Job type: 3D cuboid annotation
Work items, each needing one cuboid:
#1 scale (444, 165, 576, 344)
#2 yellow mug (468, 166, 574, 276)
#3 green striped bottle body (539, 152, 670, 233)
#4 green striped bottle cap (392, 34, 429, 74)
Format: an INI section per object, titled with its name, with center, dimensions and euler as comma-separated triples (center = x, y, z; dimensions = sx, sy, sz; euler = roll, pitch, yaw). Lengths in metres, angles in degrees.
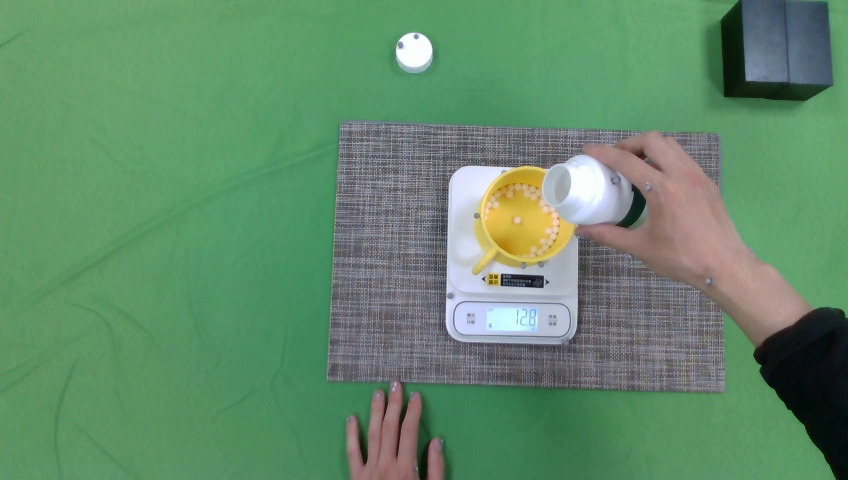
[scale]
center = 0.098, 0.016, 0.686
dimensions = 0.149, 0.031, 0.200
euler = 1, 84, 0
[yellow mug]
center = 0.092, -0.011, 0.642
dimensions = 0.100, 0.064, 0.131
euler = 42, 85, 4
[green striped bottle body]
center = 0.163, -0.044, 0.557
dimensions = 0.120, 0.063, 0.063
euler = 7, 82, -30
[green striped bottle cap]
center = -0.016, -0.223, 0.727
dimensions = 0.044, 0.020, 0.044
euler = 0, 86, 0
